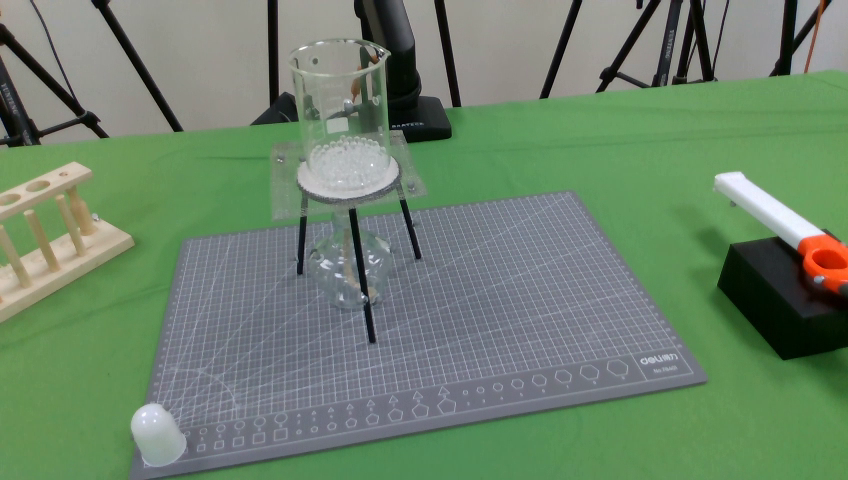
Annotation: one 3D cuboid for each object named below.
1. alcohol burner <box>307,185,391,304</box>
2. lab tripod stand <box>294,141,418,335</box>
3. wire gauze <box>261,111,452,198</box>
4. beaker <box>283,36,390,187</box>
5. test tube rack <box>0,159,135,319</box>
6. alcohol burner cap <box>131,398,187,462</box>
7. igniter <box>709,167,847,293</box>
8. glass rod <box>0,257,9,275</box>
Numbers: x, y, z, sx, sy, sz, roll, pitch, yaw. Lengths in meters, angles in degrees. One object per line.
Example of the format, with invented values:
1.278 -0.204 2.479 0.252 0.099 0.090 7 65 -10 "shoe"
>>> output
-0.070 0.001 0.554 0.078 0.120 0.077 0 37 0 "alcohol burner"
-0.061 -0.009 0.549 0.148 0.132 0.147 0 38 0 "lab tripod stand"
-0.059 -0.072 0.497 0.125 0.011 0.120 -18 38 -27 "wire gauze"
-0.063 -0.101 0.481 0.084 0.101 0.073 -22 43 -25 "beaker"
-0.412 0.019 0.572 0.066 0.086 0.242 22 43 28 "test tube rack"
-0.195 0.135 0.442 0.034 0.048 0.033 1 38 0 "alcohol burner cap"
0.344 0.005 0.530 0.057 0.025 0.273 -9 35 -9 "igniter"
-0.428 -0.050 0.553 0.008 0.201 0.008 -5 31 3 "glass rod"
